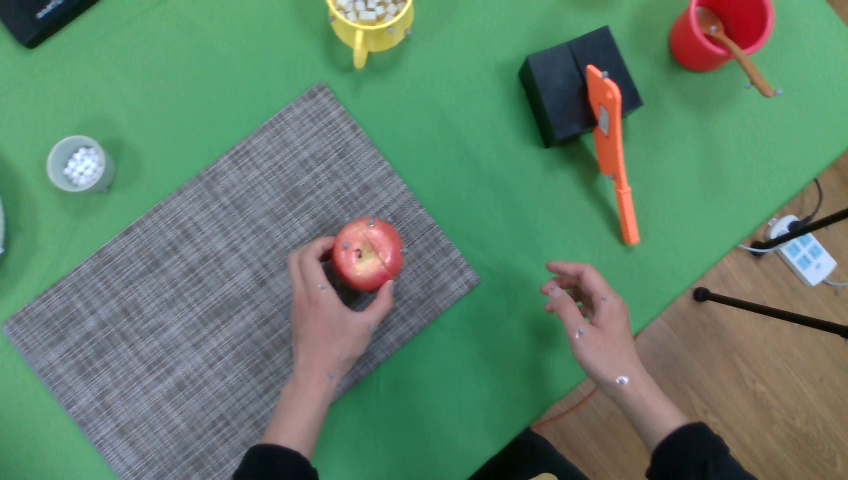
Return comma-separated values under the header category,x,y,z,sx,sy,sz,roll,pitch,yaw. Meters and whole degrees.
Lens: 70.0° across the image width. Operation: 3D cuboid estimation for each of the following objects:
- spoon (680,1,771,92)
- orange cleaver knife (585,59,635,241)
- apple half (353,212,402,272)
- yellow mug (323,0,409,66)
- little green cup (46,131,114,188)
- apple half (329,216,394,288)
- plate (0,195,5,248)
category,x,y,z,sx,sy,sz,roll,pitch,yaw
spoon,0.333,-0.218,0.671,0.041,0.022,0.191,-5,42,-1
orange cleaver knife,0.210,-0.098,0.688,0.012,0.076,0.213,-19,118,-1
apple half,-0.044,-0.004,0.667,0.033,0.081,0.081,-35,88,-1
yellow mug,-0.069,-0.264,0.689,0.100,0.064,0.130,9,87,-3
little green cup,-0.380,-0.086,0.675,0.061,0.038,0.061,0,86,-3
apple half,-0.075,0.019,0.665,0.053,0.074,0.081,-34,92,0
plate,-0.561,-0.017,0.661,0.208,0.039,0.207,0,87,-3
